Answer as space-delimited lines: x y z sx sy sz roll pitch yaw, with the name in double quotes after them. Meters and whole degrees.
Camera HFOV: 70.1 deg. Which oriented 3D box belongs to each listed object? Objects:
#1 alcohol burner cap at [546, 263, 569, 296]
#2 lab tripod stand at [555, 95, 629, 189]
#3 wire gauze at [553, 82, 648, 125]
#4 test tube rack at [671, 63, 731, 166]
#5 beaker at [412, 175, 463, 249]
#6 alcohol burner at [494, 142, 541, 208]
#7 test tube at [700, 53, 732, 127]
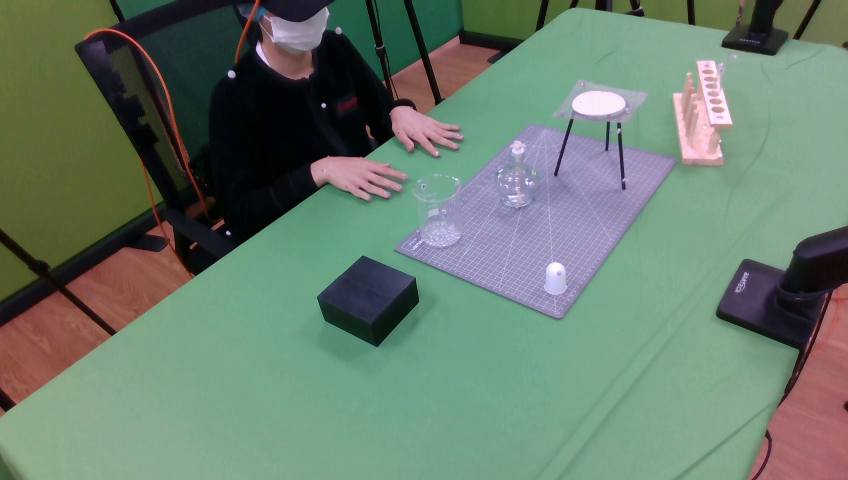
0.191 0.053 0.862 0.034 0.048 0.033 -5 40 4 "alcohol burner cap"
0.300 -0.174 1.045 0.148 0.132 0.147 -5 38 5 "lab tripod stand"
0.293 -0.225 1.002 0.120 0.011 0.125 17 45 27 "wire gauze"
0.513 -0.241 1.132 0.066 0.085 0.242 4 41 14 "test tube rack"
0.027 -0.043 0.959 0.084 0.101 0.073 -26 43 -22 "beaker"
0.157 -0.113 1.011 0.078 0.119 0.077 -3 41 3 "alcohol burner"
0.521 -0.265 1.081 0.017 0.151 0.017 -3 47 3 "test tube"
